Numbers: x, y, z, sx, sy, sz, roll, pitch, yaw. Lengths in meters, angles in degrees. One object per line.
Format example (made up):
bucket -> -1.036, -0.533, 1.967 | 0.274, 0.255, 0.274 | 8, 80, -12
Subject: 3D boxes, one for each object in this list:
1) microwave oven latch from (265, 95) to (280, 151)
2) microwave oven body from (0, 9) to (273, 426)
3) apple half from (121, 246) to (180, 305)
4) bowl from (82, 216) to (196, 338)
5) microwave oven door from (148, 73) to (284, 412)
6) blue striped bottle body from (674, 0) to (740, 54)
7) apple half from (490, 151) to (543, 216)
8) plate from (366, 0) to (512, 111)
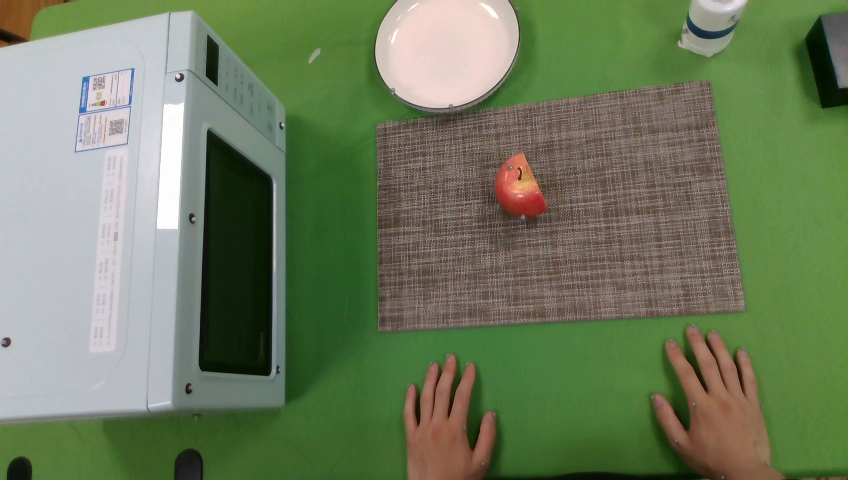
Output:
microwave oven latch -> -0.224, -0.167, 0.870 | 0.030, 0.030, 0.078 | -7, 76, 10
microwave oven body -> -0.379, -0.003, 0.763 | 0.325, 0.262, 0.439 | -7, 76, 10
apple half -> -0.355, 0.046, 0.776 | 0.081, 0.033, 0.081 | 0, 89, 5
bowl -> -0.353, 0.049, 0.785 | 0.151, 0.077, 0.151 | -1, 86, 17
microwave oven door -> -0.235, 0.019, 0.720 | 0.039, 0.245, 0.353 | -7, 75, 11
blue striped bottle body -> 0.351, -0.288, 0.747 | 0.063, 0.121, 0.062 | -3, 75, 12
apple half -> 0.112, -0.065, 0.768 | 0.053, 0.075, 0.080 | -25, 76, 10
plate -> 0.023, -0.275, 0.862 | 0.207, 0.039, 0.206 | -3, 76, 11
